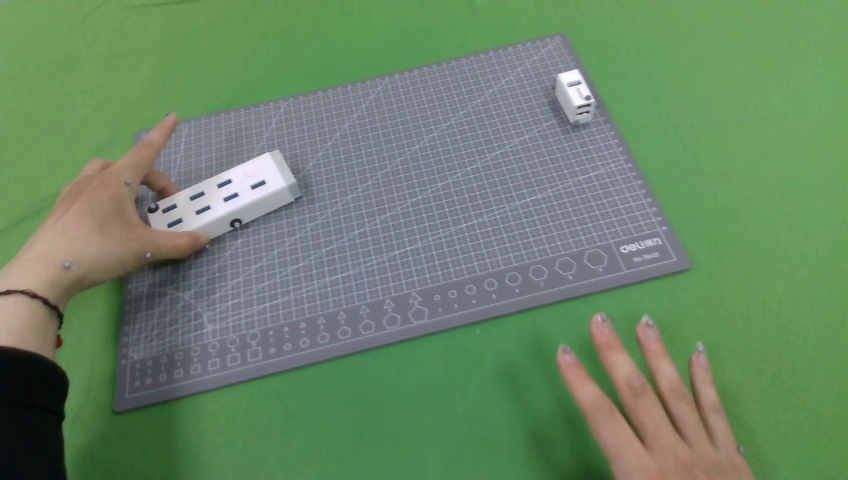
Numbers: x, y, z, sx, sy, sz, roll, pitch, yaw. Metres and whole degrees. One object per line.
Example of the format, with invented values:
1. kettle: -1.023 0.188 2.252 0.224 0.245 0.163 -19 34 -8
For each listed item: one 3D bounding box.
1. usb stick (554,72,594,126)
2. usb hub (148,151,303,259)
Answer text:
1. usb stick: 0.138 -0.136 0.566 0.021 0.027 0.058 -16 54 -1
2. usb hub: -0.175 -0.033 0.536 0.125 0.025 0.049 -26 58 -11
